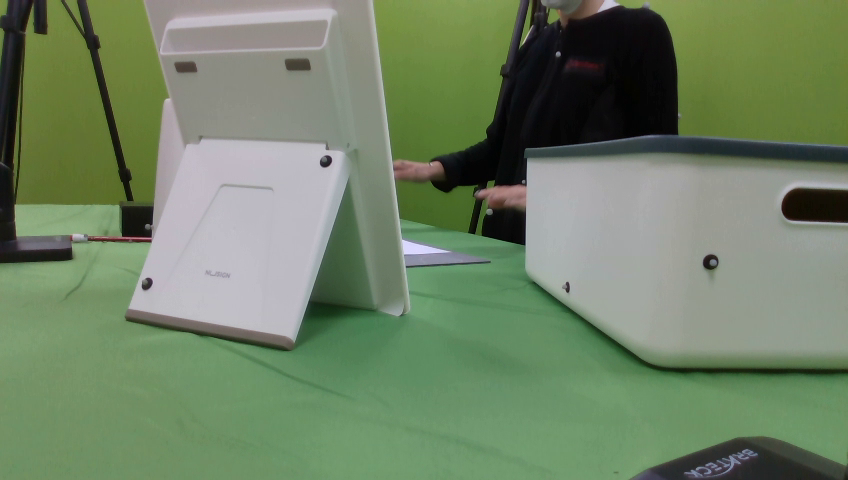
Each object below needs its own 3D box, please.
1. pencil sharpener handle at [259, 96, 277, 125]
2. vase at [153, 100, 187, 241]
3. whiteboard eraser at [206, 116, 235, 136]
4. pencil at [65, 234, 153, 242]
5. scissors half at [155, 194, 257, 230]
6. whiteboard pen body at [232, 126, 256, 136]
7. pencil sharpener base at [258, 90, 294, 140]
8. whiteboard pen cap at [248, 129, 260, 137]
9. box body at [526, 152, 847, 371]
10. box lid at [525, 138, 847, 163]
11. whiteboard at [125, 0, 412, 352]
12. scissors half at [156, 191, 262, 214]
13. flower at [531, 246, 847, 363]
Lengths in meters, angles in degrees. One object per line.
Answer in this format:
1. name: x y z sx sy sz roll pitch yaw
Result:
1. pencil sharpener handle: -0.373 -0.304 1.425 0.036 0.067 0.030 13 -1 -37
2. vase: -0.278 -0.066 0.736 0.098 0.200 0.098 2 9 0
3. whiteboard eraser: -0.449 -0.251 1.335 0.056 0.042 0.112 1 7 -22
4. pencil: -0.429 -0.001 0.911 0.195 0.012 0.012 1 8 -20
5. scissors half: -0.378 -0.051 1.058 0.176 0.040 0.012 20 22 -31
6. whiteboard pen body: -0.407 -0.247 1.372 0.017 0.017 0.140 -3 13 -35
7. pencil sharpener base: -0.341 -0.285 1.388 0.062 0.107 0.076 -3 9 -36
8. whiteboard pen cap: -0.373 -0.235 1.326 0.018 0.018 0.033 -3 12 -35
9. box body: 0.259 -0.004 0.584 0.255 0.160 0.363 2 7 -6
10. box lid: 0.262 -0.076 0.573 0.264 0.015 0.371 2 7 -6
11. whiteboard: -0.151 -0.049 0.472 0.216 0.305 0.144 6 27 24
12. scissors half: -0.371 -0.069 1.051 0.176 0.040 0.013 2 25 -24
13. flower: 0.251 0.063 0.602 0.359 0.038 0.044 20 -13 49
